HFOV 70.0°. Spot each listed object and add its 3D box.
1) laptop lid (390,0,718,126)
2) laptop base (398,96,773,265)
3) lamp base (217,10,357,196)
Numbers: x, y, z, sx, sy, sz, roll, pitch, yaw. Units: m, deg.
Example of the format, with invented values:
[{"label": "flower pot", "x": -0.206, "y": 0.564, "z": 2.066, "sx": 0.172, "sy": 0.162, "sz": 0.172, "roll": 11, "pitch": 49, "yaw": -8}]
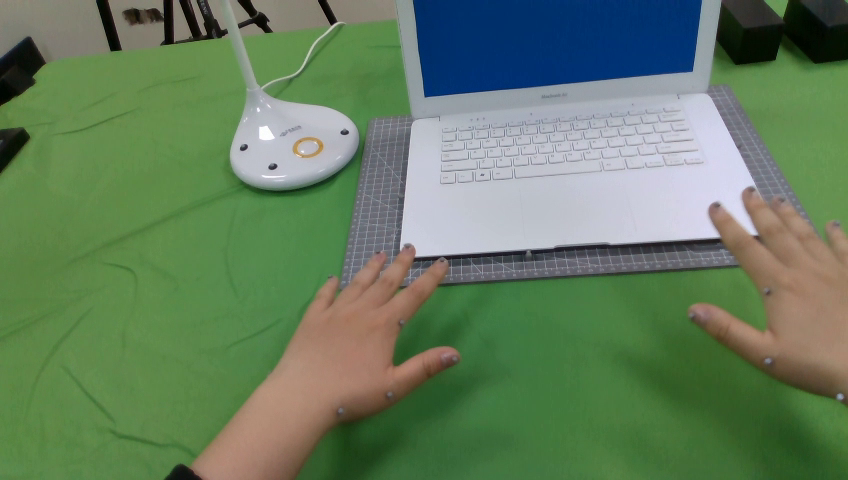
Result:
[{"label": "laptop lid", "x": 0.141, "y": -0.246, "z": 0.669, "sx": 0.356, "sy": 0.244, "sz": 0.013, "roll": -6, "pitch": 36, "yaw": 7}, {"label": "laptop base", "x": 0.152, "y": -0.067, "z": 0.656, "sx": 0.354, "sy": 0.023, "sz": 0.233, "roll": -4, "pitch": 47, "yaw": 6}, {"label": "lamp base", "x": -0.183, "y": -0.169, "z": 0.707, "sx": 0.177, "sy": 0.182, "sz": 0.160, "roll": 26, "pitch": 54, "yaw": 35}]
